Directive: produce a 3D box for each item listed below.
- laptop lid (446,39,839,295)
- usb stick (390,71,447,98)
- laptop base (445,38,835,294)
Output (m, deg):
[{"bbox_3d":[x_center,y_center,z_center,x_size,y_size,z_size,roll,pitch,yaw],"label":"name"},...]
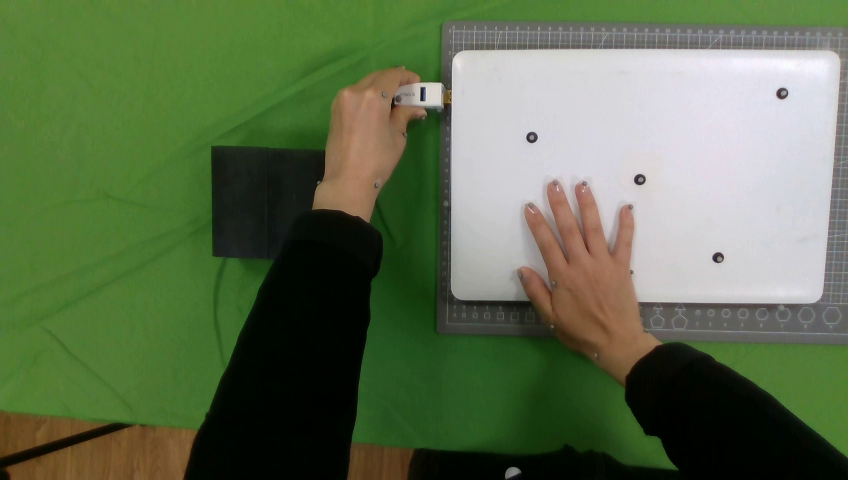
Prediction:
[{"bbox_3d":[0.197,-0.064,0.564,0.357,0.013,0.242,2,99,1],"label":"laptop lid"},{"bbox_3d":[-0.001,-0.143,0.560,0.059,0.027,0.021,2,99,2],"label":"usb stick"},{"bbox_3d":[0.197,-0.067,0.573,0.354,0.023,0.236,0,99,1],"label":"laptop base"}]
